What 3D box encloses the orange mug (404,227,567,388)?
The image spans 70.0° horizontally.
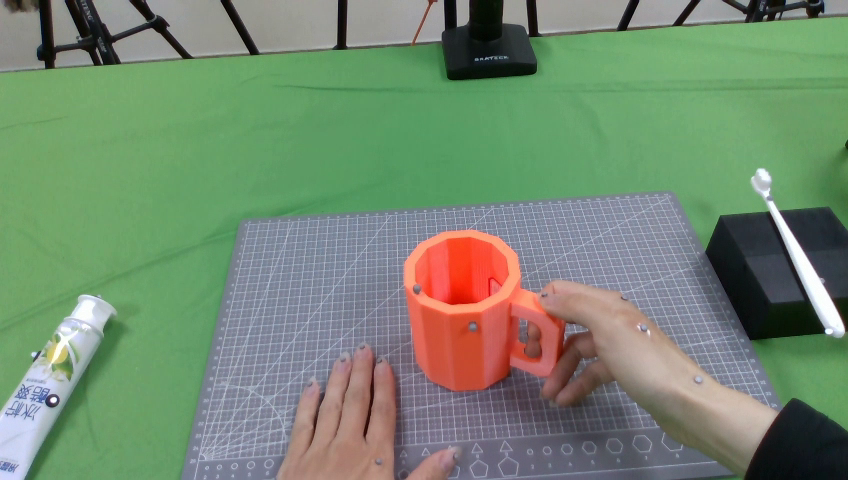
[{"bbox_3d":[0.046,0.057,0.465,0.125,0.102,0.083,14,47,26],"label":"orange mug"}]

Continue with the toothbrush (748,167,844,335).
[{"bbox_3d":[0.306,0.001,0.503,0.014,0.017,0.180,2,47,0],"label":"toothbrush"}]

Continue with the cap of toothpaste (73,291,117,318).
[{"bbox_3d":[-0.288,0.057,0.529,0.037,0.038,0.011,6,51,9],"label":"cap of toothpaste"}]

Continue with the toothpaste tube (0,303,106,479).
[{"bbox_3d":[-0.305,0.117,0.482,0.055,0.035,0.163,4,50,12],"label":"toothpaste tube"}]
